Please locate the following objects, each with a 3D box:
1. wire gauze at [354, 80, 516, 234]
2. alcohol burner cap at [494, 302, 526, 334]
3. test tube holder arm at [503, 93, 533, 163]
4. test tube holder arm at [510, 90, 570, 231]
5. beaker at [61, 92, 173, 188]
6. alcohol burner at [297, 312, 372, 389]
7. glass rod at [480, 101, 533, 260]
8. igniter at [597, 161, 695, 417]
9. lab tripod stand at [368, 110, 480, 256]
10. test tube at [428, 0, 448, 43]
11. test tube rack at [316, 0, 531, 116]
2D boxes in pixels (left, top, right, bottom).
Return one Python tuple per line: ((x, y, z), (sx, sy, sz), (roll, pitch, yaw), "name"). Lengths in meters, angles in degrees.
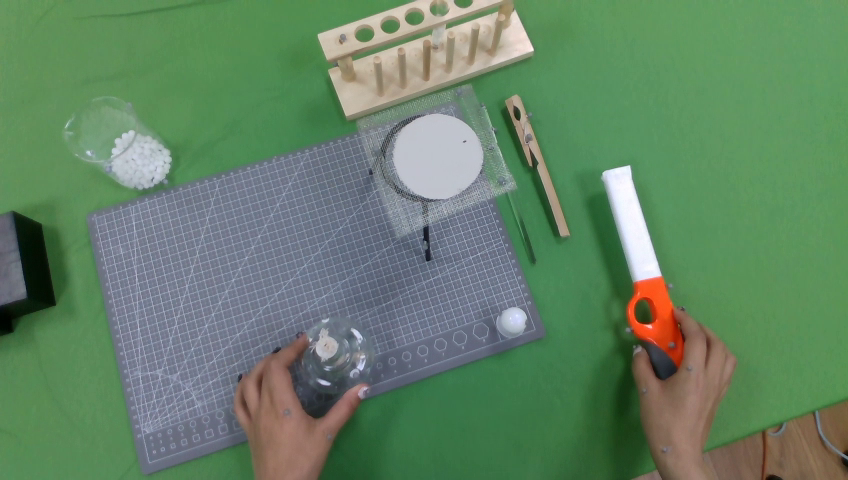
((0.009, -0.082, 0.571), (0.121, 0.011, 0.124), (-20, 77, -3), "wire gauze")
((0.094, 0.081, 0.648), (0.034, 0.048, 0.033), (0, 75, 0), "alcohol burner cap")
((0.115, -0.133, 0.716), (0.010, 0.015, 0.087), (-26, 77, 29), "test tube holder arm")
((0.134, -0.093, 0.704), (0.013, 0.015, 0.177), (-26, 76, 29), "test tube holder arm")
((-0.331, -0.104, 0.665), (0.084, 0.101, 0.073), (0, 76, 1), "beaker")
((-0.092, 0.108, 0.604), (0.078, 0.120, 0.077), (0, 74, 2), "alcohol burner")
((0.095, -0.071, 0.705), (0.008, 0.008, 0.199), (-15, 80, -4), "glass rod")
((0.238, 0.048, 0.650), (0.057, 0.025, 0.275), (-13, 78, 2), "igniter")
((-0.003, -0.068, 0.636), (0.148, 0.132, 0.147), (0, 77, 2), "lab tripod stand")
((0.019, -0.263, 0.660), (0.017, 0.151, 0.017), (2, 73, -5), "test tube")
((0.006, -0.230, 0.703), (0.242, 0.085, 0.066), (-21, 77, -5), "test tube rack")
